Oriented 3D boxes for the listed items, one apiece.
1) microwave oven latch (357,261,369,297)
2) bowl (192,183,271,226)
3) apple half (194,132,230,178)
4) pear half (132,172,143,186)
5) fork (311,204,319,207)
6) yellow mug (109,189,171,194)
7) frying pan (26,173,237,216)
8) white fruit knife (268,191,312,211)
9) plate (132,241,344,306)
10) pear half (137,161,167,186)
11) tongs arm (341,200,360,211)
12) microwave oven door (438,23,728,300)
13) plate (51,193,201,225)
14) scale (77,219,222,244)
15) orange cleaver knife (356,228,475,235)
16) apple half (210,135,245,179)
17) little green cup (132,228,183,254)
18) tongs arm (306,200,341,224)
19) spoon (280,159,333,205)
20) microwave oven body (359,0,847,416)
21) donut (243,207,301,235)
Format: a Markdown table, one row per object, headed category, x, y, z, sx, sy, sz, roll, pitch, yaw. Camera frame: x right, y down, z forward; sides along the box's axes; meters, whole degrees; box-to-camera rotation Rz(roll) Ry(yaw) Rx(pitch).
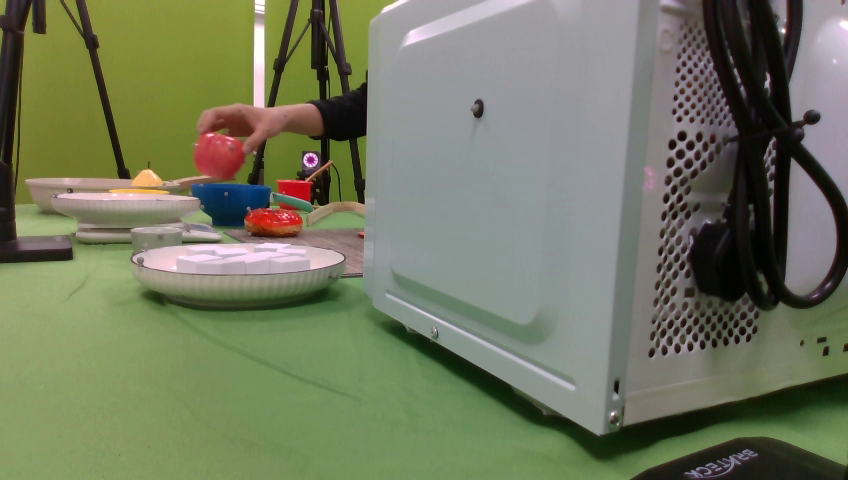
| category | x | y | z | sx | sy | sz | roll | pitch | yaw |
| --- | --- | --- | --- | --- | --- | --- | --- | --- | --- |
| microwave oven latch | -0.019 | 0.033 | 0.530 | 0.079 | 0.029 | 0.030 | -1 | 7 | -26 |
| bowl | -0.382 | -0.070 | 1.202 | 0.151 | 0.077 | 0.151 | 3 | 7 | 0 |
| apple half | -0.358 | -0.145 | 1.023 | 0.053 | 0.074 | 0.081 | 12 | 10 | 18 |
| pear half | -0.638 | -0.113 | 1.361 | 0.031 | 0.088 | 0.070 | 5 | 11 | 4 |
| fork | -0.356 | -0.105 | 1.526 | 0.208 | 0.018 | 0.028 | 16 | -5 | -41 |
| yellow mug | -0.519 | -0.055 | 1.080 | 0.099 | 0.064 | 0.131 | 7 | 10 | 26 |
| frying pan | -0.624 | -0.118 | 1.387 | 0.305 | 0.102 | 0.490 | 8 | 17 | 32 |
| white fruit knife | -0.364 | -0.105 | 1.464 | 0.208 | 0.027 | 0.016 | 15 | 0 | -34 |
| plate | -0.187 | 0.033 | 0.625 | 0.208 | 0.039 | 0.207 | 2 | 7 | 0 |
| pear half | -0.602 | -0.120 | 1.354 | 0.056 | 0.110 | 0.076 | 4 | 11 | 6 |
| tongs arm | -0.148 | -0.070 | 1.429 | 0.051 | 0.026 | 0.383 | -4 | 8 | -14 |
| microwave oven door | 0.181 | -0.073 | 0.621 | 0.358 | 0.243 | 0.039 | -2 | 8 | -29 |
| plate | -0.460 | -0.050 | 0.945 | 0.209 | 0.038 | 0.209 | 2 | 7 | 0 |
| scale | -0.434 | -0.018 | 0.963 | 0.202 | 0.031 | 0.148 | -1 | 9 | -26 |
| orange cleaver knife | -0.017 | -0.015 | 1.080 | 0.211 | 0.012 | 0.077 | 0 | 2 | -2 |
| apple half | -0.322 | -0.136 | 1.012 | 0.032 | 0.081 | 0.081 | 12 | 10 | 18 |
| little green cup | -0.342 | 0.006 | 0.779 | 0.061 | 0.038 | 0.061 | 2 | 8 | 0 |
| tongs arm | -0.234 | -0.069 | 1.414 | 0.028 | 0.028 | 0.387 | -5 | 7 | 1 |
| spoon | -0.316 | -0.159 | 1.640 | 0.194 | 0.022 | 0.041 | -49 | 32 | -20 |
| microwave oven body | 0.211 | -0.047 | 0.474 | 0.444 | 0.260 | 0.324 | -1 | 7 | -28 |
| donut | -0.262 | -0.031 | 1.044 | 0.099 | 0.048 | 0.099 | 5 | 9 | 0 |
